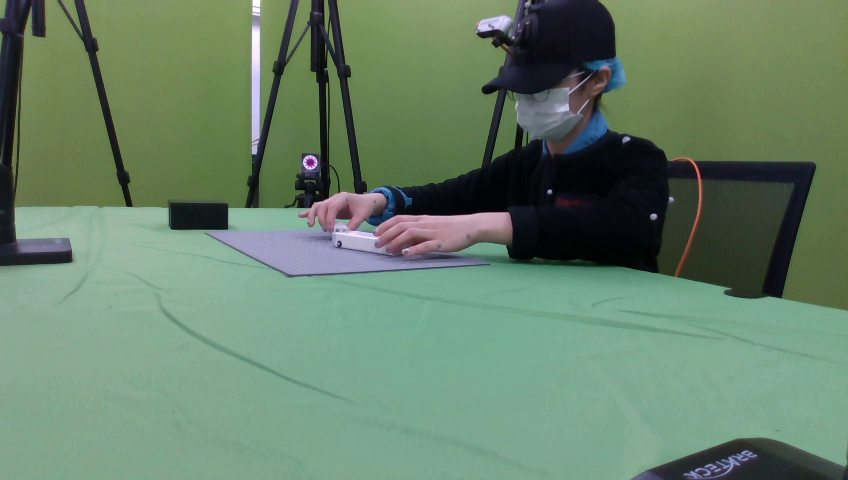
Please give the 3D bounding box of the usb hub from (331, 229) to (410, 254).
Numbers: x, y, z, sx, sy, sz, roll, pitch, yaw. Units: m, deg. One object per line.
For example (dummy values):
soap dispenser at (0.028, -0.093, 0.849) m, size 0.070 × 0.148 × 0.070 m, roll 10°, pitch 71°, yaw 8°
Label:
usb hub at (-0.085, 0.001, 0.945) m, size 0.124 × 0.025 × 0.050 m, roll 7°, pitch 10°, yaw 36°

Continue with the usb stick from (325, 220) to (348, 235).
usb stick at (-0.150, -0.018, 1.051) m, size 0.027 × 0.021 × 0.059 m, roll 0°, pitch 15°, yaw -30°
